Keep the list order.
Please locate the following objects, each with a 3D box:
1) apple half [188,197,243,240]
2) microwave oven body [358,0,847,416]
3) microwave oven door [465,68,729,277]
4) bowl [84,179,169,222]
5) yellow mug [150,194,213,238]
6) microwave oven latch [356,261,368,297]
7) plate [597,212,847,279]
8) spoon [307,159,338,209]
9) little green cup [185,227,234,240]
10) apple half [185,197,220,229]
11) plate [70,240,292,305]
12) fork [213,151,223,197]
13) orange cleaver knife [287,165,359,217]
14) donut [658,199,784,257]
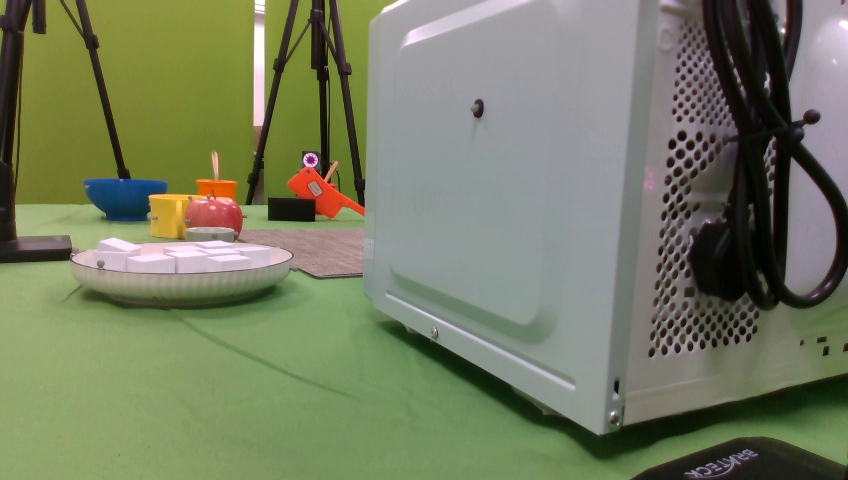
[{"bbox_3d":[-0.305,-0.026,0.907,0.053,0.074,0.081,12,8,31],"label":"apple half"},{"bbox_3d":[0.211,-0.047,0.475,0.444,0.260,0.324,-1,7,-28],"label":"microwave oven body"},{"bbox_3d":[0.207,-0.096,0.814,0.354,0.243,0.039,9,11,42],"label":"microwave oven door"},{"bbox_3d":[-0.584,-0.078,1.194,0.151,0.077,0.151,3,8,0],"label":"bowl"},{"bbox_3d":[-0.401,-0.040,1.003,0.100,0.064,0.130,-1,9,-20],"label":"yellow mug"},{"bbox_3d":[-0.020,0.033,0.530,0.079,0.029,0.030,-1,7,-27],"label":"microwave oven latch"},{"bbox_3d":[0.255,0.002,0.519,0.209,0.038,0.209,2,7,0],"label":"plate"},{"bbox_3d":[-0.257,-0.147,1.567,0.041,0.022,0.193,2,50,19],"label":"spoon"},{"bbox_3d":[-0.285,0.005,0.805,0.061,0.038,0.061,2,8,0],"label":"little green cup"},{"bbox_3d":[-0.338,-0.031,0.927,0.032,0.081,0.081,12,12,31],"label":"apple half"},{"bbox_3d":[-0.242,0.031,0.618,0.208,0.039,0.207,2,8,0],"label":"plate"},{"bbox_3d":[-0.494,-0.143,1.442,0.028,0.018,0.206,-2,52,-20],"label":"fork"},{"bbox_3d":[-0.211,-0.093,1.382,0.212,0.077,0.012,33,1,-15],"label":"orange cleaver knife"},{"bbox_3d":[0.252,-0.010,0.517,0.099,0.048,0.099,3,5,0],"label":"donut"}]
